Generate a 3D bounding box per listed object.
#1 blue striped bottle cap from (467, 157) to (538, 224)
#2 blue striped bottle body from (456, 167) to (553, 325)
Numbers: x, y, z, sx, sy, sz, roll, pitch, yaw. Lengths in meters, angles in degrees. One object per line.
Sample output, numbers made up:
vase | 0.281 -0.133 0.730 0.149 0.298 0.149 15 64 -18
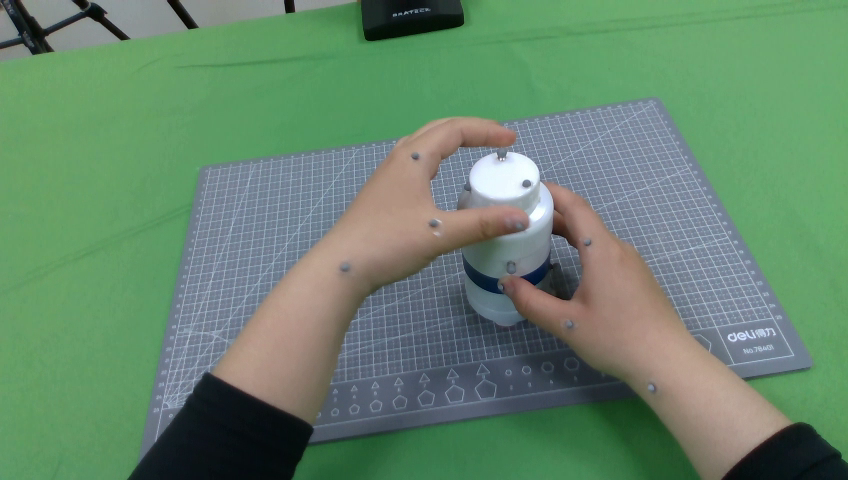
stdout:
blue striped bottle cap | 0.049 -0.031 0.374 0.044 0.021 0.044 -2 46 2
blue striped bottle body | 0.056 0.001 0.414 0.063 0.122 0.062 -4 49 5
